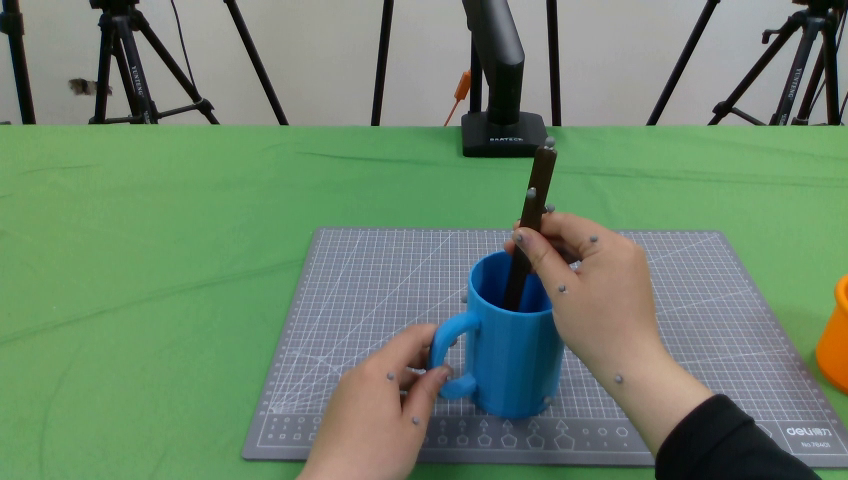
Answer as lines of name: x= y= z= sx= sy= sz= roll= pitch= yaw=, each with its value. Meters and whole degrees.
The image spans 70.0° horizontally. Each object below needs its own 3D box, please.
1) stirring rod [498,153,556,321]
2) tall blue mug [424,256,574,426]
stirring rod: x=0.069 y=0.014 z=0.430 sx=0.014 sy=0.177 sz=0.006 roll=17 pitch=42 yaw=13
tall blue mug: x=0.059 y=0.085 z=0.452 sx=0.077 sy=0.109 sz=0.107 roll=21 pitch=40 yaw=27
